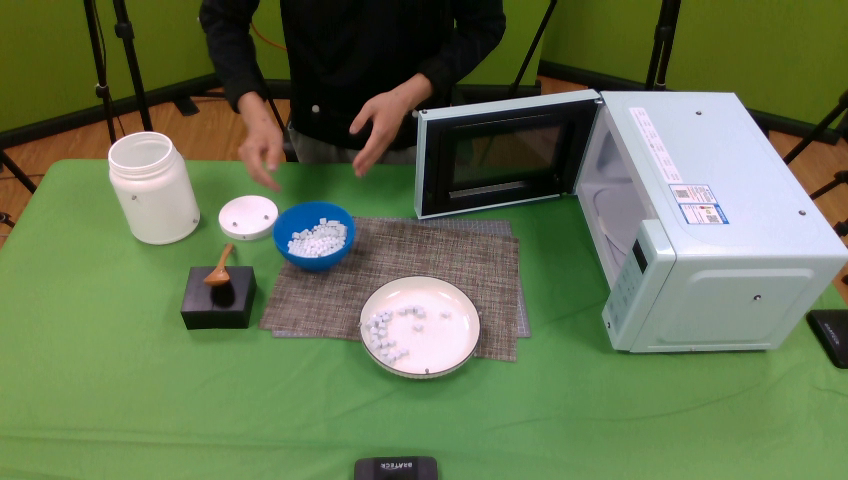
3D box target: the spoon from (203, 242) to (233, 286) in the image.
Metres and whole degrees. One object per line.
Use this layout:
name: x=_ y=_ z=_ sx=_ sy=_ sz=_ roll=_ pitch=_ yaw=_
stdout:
spoon: x=-0.360 y=0.039 z=1.087 sx=0.041 sy=0.022 sz=0.192 roll=-6 pitch=24 yaw=-7

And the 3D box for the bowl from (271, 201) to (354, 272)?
bowl: x=-0.205 y=0.006 z=1.135 sx=0.151 sy=0.077 sz=0.150 roll=3 pitch=46 yaw=-3

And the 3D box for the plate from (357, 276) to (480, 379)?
plate: x=-0.010 y=0.151 z=1.038 sx=0.209 sy=0.038 sz=0.208 roll=2 pitch=47 yaw=-2

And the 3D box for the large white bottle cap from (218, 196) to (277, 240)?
large white bottle cap: x=-0.355 y=-0.045 z=1.220 sx=0.115 sy=0.018 sz=0.114 roll=1 pitch=45 yaw=-1

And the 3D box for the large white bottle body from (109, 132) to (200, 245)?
large white bottle body: x=-0.506 y=-0.097 z=1.141 sx=0.131 sy=0.185 sz=0.130 roll=2 pitch=46 yaw=-2

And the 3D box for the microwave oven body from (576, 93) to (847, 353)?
microwave oven body: x=0.475 y=-0.041 z=1.109 sx=0.326 sy=0.261 sz=0.438 roll=-1 pitch=45 yaw=-4

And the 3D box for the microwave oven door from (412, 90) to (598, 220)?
microwave oven door: x=0.156 y=-0.167 z=1.200 sx=0.356 sy=0.245 sz=0.039 roll=-10 pitch=47 yaw=-14

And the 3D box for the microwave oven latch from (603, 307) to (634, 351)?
microwave oven latch: x=0.332 y=0.153 z=1.044 sx=0.030 sy=0.029 sz=0.078 roll=0 pitch=45 yaw=-4
